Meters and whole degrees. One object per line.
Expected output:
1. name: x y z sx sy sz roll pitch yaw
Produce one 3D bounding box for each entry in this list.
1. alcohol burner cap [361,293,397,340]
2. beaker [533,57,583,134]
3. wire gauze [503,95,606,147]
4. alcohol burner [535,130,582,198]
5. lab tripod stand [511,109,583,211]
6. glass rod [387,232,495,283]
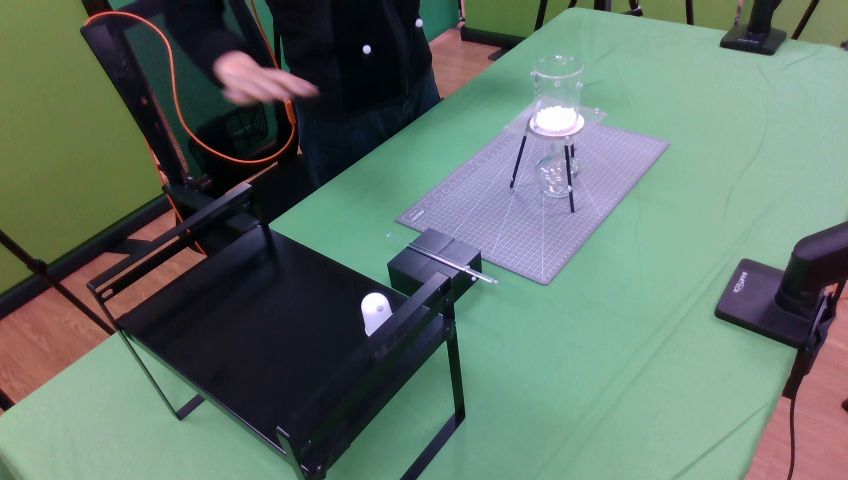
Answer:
1. alcohol burner cap: -0.046 0.073 0.601 0.034 0.048 0.033 -5 42 5
2. beaker: 0.208 -0.225 0.941 0.073 0.101 0.084 10 44 20
3. wire gauze: 0.212 -0.191 0.976 0.120 0.011 0.125 24 52 32
4. alcohol burner: 0.227 -0.132 1.021 0.078 0.119 0.077 -6 40 5
5. lab tripod stand: 0.220 -0.138 1.014 0.148 0.132 0.147 -3 41 3
6. glass rod: 0.020 0.024 0.880 0.198 0.008 0.008 24 49 32
